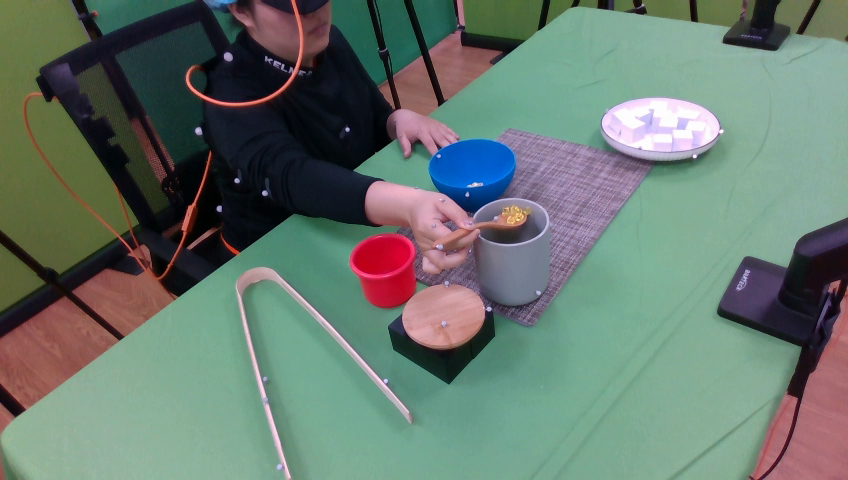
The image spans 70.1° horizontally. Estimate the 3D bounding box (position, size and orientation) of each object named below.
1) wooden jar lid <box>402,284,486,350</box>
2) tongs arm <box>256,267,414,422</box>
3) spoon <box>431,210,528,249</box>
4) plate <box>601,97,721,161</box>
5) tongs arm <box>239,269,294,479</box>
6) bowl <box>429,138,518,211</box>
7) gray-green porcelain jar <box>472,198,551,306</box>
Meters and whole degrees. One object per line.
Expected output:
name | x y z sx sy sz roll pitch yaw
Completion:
wooden jar lid | 0.027 0.101 0.786 0.108 0.021 0.108 -5 39 4
tongs arm | -0.136 0.132 0.853 0.028 0.028 0.384 -34 45 -23
spoon | 0.073 -0.015 0.780 0.041 0.021 0.195 23 24 36
plate | 0.437 -0.202 1.126 0.209 0.038 0.208 -5 39 5
tongs arm | -0.208 0.163 0.824 0.051 0.026 0.381 -22 40 -15
bowl | 0.087 -0.104 1.043 0.151 0.077 0.150 -5 40 5
gray-green porcelain jar | 0.125 0.021 0.850 0.106 0.127 0.105 -6 40 5
